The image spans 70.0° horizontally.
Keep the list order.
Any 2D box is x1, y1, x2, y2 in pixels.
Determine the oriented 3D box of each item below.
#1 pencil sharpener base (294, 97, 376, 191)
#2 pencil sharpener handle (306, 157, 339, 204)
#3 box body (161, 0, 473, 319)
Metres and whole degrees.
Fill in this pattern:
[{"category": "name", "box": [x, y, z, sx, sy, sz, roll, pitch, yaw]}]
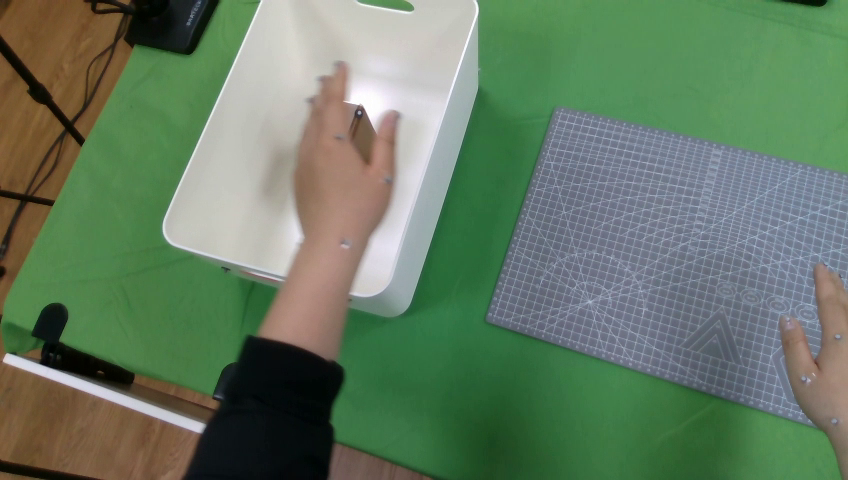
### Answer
[{"category": "pencil sharpener base", "box": [-0.107, -0.113, 0.747, 0.061, 0.108, 0.076, 14, 75, 12]}, {"category": "pencil sharpener handle", "box": [-0.121, -0.069, 0.722, 0.036, 0.068, 0.030, 12, 74, 21]}, {"category": "box body", "box": [-0.101, -0.108, 0.722, 0.253, 0.161, 0.362, 14, 74, 11]}]
